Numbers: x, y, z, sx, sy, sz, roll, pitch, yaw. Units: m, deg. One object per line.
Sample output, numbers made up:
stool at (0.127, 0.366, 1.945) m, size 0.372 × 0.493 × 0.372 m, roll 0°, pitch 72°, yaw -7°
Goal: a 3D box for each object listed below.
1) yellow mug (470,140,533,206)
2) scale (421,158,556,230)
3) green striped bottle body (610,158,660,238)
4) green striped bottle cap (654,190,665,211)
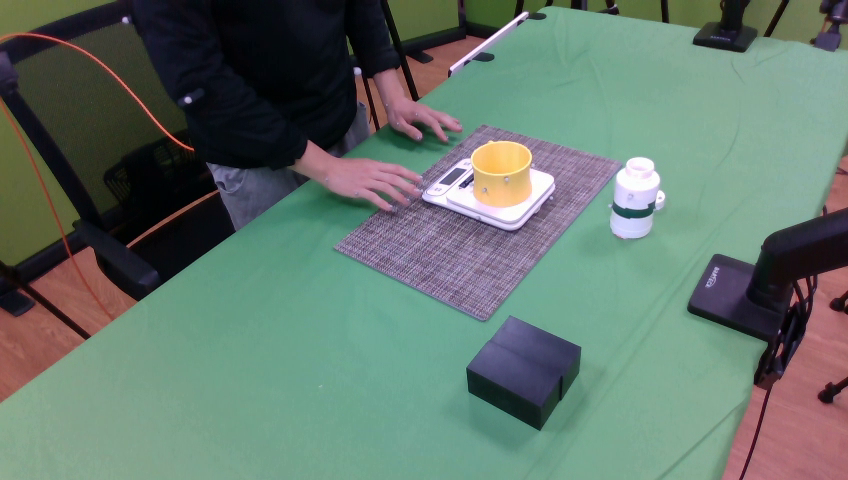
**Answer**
yellow mug at (0.125, -0.121, 1.004) m, size 0.100 × 0.064 × 0.130 m, roll -13°, pitch 40°, yaw -5°
scale at (0.110, -0.089, 1.042) m, size 0.199 × 0.032 × 0.149 m, roll 23°, pitch 48°, yaw 31°
green striped bottle body at (0.323, -0.066, 0.924) m, size 0.063 × 0.120 × 0.063 m, roll -4°, pitch 41°, yaw 4°
green striped bottle cap at (0.375, -0.066, 0.998) m, size 0.044 × 0.020 × 0.044 m, roll -8°, pitch 38°, yaw 7°
